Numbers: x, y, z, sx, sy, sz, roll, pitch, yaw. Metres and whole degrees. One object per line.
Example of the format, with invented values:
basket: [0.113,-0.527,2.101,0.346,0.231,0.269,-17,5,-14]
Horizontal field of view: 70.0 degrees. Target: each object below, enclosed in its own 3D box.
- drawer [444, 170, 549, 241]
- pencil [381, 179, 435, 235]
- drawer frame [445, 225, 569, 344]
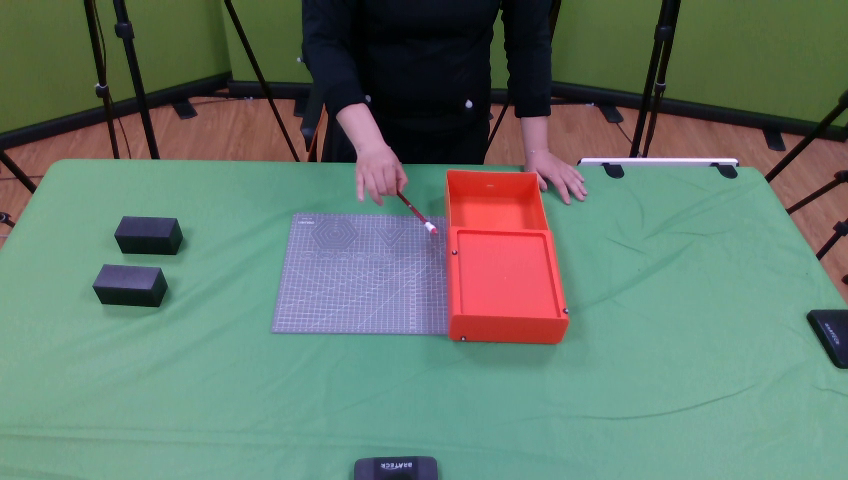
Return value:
drawer: [0.140,-0.049,1.217,0.194,0.073,0.210,2,43,-3]
pencil: [-0.034,-0.066,1.135,0.012,0.012,0.193,-22,47,-24]
drawer frame: [0.141,0.076,1.089,0.202,0.083,0.212,2,47,-3]
